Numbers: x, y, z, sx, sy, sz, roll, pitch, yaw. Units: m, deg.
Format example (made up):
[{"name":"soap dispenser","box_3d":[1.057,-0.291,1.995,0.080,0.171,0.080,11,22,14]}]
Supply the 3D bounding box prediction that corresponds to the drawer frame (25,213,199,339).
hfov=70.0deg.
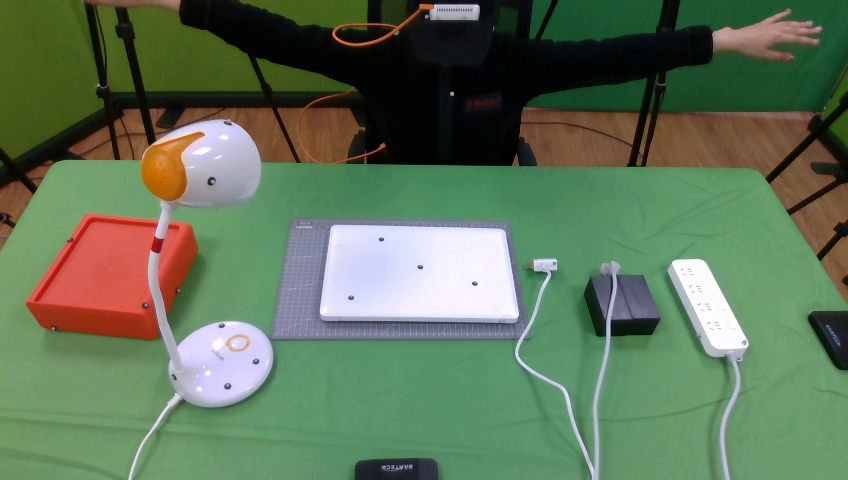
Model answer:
[{"name":"drawer frame","box_3d":[-0.532,0.058,1.061,0.202,0.083,0.212,5,46,0]}]

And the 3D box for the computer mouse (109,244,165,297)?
[{"name":"computer mouse","box_3d":[-0.516,0.051,1.088,0.063,0.041,0.116,4,48,3]}]

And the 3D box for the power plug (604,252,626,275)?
[{"name":"power plug","box_3d":[0.366,0.039,1.129,0.035,0.072,0.052,39,57,-10]}]

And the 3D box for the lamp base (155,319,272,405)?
[{"name":"lamp base","box_3d":[-0.330,0.149,0.918,0.160,0.181,0.179,26,52,20]}]

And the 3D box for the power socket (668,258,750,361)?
[{"name":"power socket","box_3d":[0.517,0.118,1.109,0.072,0.033,0.225,-2,47,-4]}]

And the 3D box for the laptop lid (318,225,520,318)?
[{"name":"laptop lid","box_3d":[-0.009,0.052,1.131,0.357,0.013,0.240,2,43,-2]}]

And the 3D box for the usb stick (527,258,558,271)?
[{"name":"usb stick","box_3d":[0.226,0.046,1.158,0.059,0.021,0.027,-2,8,10]}]

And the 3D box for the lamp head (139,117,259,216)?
[{"name":"lamp head","box_3d":[-0.281,-0.086,0.734,0.112,0.113,0.123,21,25,16]}]

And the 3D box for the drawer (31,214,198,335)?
[{"name":"drawer","box_3d":[-0.532,0.056,1.064,0.194,0.073,0.210,6,46,1]}]

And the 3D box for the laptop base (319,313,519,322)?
[{"name":"laptop base","box_3d":[-0.009,0.062,1.137,0.354,0.023,0.234,1,42,-3]}]
